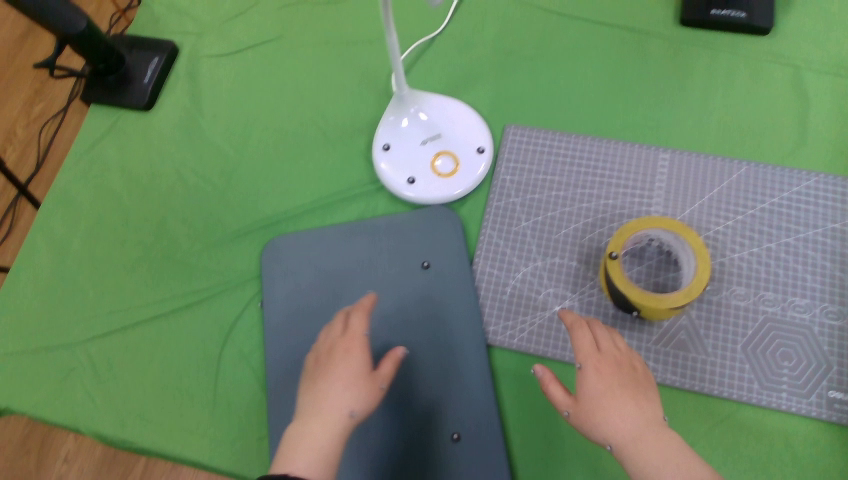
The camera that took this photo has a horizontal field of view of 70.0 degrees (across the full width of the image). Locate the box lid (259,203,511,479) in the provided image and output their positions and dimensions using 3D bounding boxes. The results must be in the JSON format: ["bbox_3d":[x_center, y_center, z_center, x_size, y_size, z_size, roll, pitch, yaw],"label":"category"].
[{"bbox_3d":[-0.058,0.138,0.708,0.263,0.015,0.368,-11,68,2],"label":"box lid"}]

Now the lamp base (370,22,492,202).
[{"bbox_3d":[-0.007,-0.160,0.727,0.160,0.182,0.177,-36,67,-8],"label":"lamp base"}]

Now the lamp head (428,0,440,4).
[{"bbox_3d":[0.008,-0.255,0.443,0.123,0.112,0.112,44,77,-15],"label":"lamp head"}]

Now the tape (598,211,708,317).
[{"bbox_3d":[0.258,0.027,0.691,0.117,0.053,0.116,-2,69,5],"label":"tape"}]
